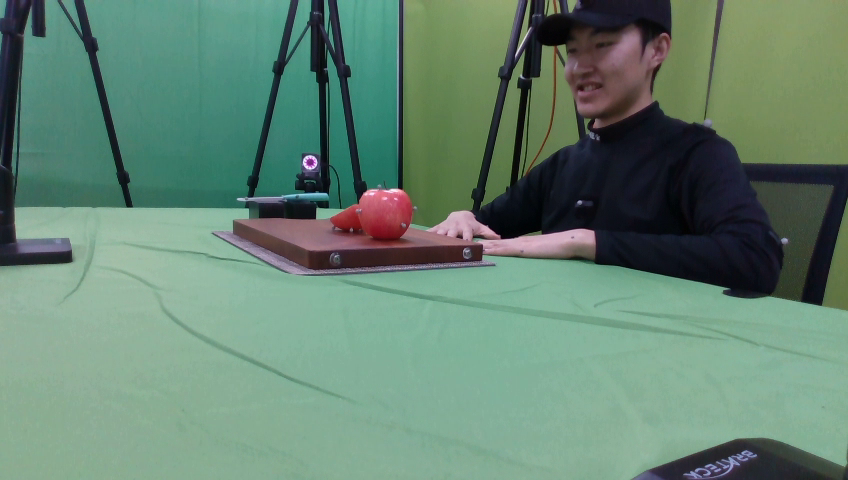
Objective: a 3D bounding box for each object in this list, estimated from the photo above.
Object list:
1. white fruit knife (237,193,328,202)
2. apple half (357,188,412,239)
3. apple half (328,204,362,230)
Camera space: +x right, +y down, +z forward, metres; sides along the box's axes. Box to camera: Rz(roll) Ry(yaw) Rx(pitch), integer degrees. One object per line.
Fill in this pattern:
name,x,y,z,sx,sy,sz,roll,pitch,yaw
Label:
white fruit knife,-0.294,-0.088,1.279,0.208,0.016,0.027,-6,-13,-36
apple half,-0.050,-0.037,0.873,0.081,0.074,0.053,1,10,-39
apple half,-0.107,-0.034,0.954,0.081,0.033,0.081,-19,-5,-1
